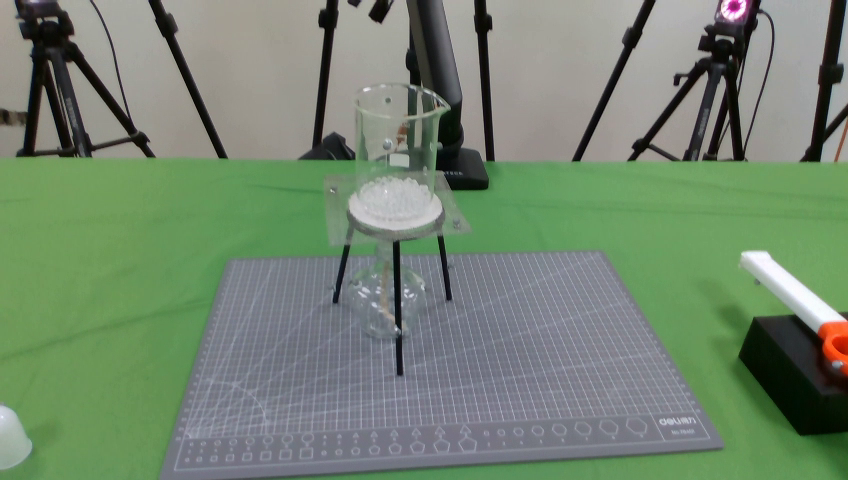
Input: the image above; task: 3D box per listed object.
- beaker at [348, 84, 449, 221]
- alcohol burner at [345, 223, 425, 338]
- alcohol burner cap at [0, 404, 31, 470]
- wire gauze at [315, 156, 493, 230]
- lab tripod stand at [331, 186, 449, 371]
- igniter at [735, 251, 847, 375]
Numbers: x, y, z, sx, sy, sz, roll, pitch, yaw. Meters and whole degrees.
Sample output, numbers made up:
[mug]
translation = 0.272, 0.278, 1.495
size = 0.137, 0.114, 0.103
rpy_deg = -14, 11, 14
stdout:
[beaker]
translation = -0.023, -0.074, 0.525
size = 0.084, 0.101, 0.073
rpy_deg = -3, 36, -9
[alcohol burner]
translation = -0.037, 0.035, 0.585
size = 0.078, 0.120, 0.077
rpy_deg = 4, 32, -2
[alcohol burner cap]
translation = -0.322, 0.146, 0.457
size = 0.034, 0.048, 0.033
rpy_deg = 4, 31, -2
[wire gauze]
translation = -0.019, -0.042, 0.538
size = 0.125, 0.011, 0.120
rpy_deg = -12, 33, -30
[lab tripod stand]
translation = -0.028, 0.028, 0.578
size = 0.148, 0.132, 0.147
rpy_deg = 4, 33, -2
[igniter]
translation = 0.367, 0.085, 0.538
size = 0.057, 0.025, 0.274
rpy_deg = -1, 29, -7
